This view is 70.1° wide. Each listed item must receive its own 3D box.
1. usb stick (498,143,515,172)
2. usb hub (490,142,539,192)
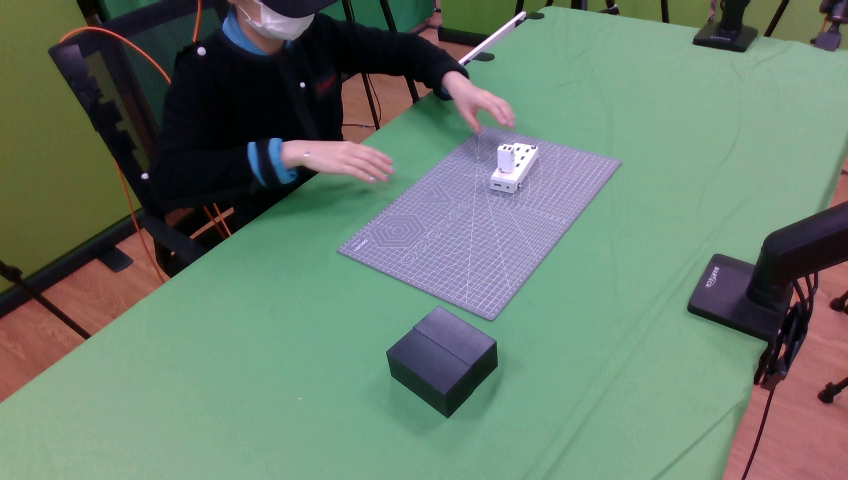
[{"bbox_3d":[0.144,-0.137,1.052,0.027,0.059,0.021,15,45,21],"label":"usb stick"},{"bbox_3d":[0.165,-0.132,1.092,0.049,0.025,0.125,15,46,24],"label":"usb hub"}]
